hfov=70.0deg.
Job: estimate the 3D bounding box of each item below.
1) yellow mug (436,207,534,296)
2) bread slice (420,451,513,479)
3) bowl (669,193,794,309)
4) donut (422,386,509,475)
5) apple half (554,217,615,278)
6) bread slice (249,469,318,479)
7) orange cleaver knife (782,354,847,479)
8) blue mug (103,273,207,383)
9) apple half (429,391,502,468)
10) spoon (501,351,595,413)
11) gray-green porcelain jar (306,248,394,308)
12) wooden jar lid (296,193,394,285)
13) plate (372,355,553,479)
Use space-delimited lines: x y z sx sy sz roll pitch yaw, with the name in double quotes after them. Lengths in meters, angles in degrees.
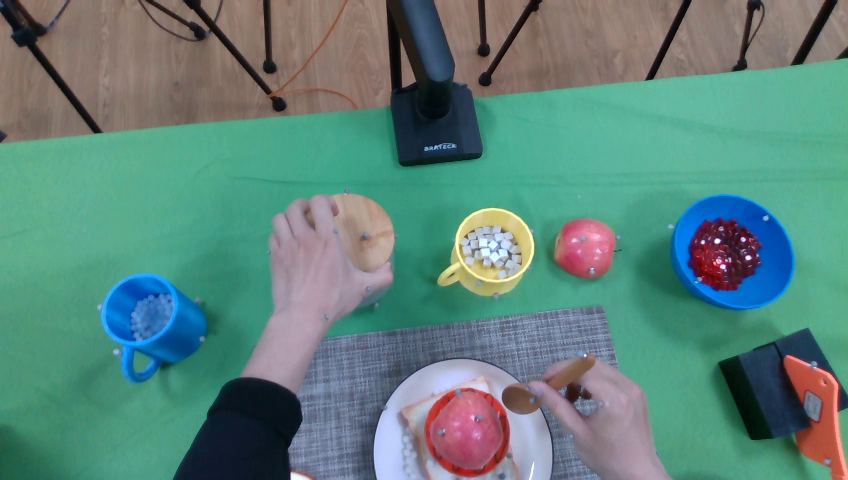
0.072 0.023 0.773 0.131 0.064 0.099 -29 74 -11 "yellow mug"
0.043 0.249 0.719 0.107 0.018 0.133 -29 62 -11 "bread slice"
0.379 0.023 0.780 0.151 0.077 0.150 1 71 -2 "bowl"
0.048 0.214 0.684 0.099 0.048 0.098 1 70 -2 "donut"
0.213 0.004 0.793 0.074 0.053 0.080 14 70 5 "apple half"
-0.165 0.325 0.675 0.105 0.019 0.130 1 71 -3 "bread slice"
0.464 0.236 0.706 0.012 0.077 0.211 -16 93 -15 "orange cleaver knife"
-0.314 0.108 0.703 0.082 0.106 0.116 13 70 2 "blue mug"
0.047 0.204 0.650 0.081 0.033 0.081 -1 73 4 "apple half"
0.117 0.138 0.577 0.041 0.194 0.021 32 64 3 "spoon"
-0.089 0.022 0.734 0.106 0.127 0.105 1 69 -2 "gray-green porcelain jar"
-0.087 0.000 0.676 0.108 0.021 0.107 1 68 -1 "wooden jar lid"
0.044 0.240 0.705 0.208 0.039 0.206 1 71 -2 "plate"
